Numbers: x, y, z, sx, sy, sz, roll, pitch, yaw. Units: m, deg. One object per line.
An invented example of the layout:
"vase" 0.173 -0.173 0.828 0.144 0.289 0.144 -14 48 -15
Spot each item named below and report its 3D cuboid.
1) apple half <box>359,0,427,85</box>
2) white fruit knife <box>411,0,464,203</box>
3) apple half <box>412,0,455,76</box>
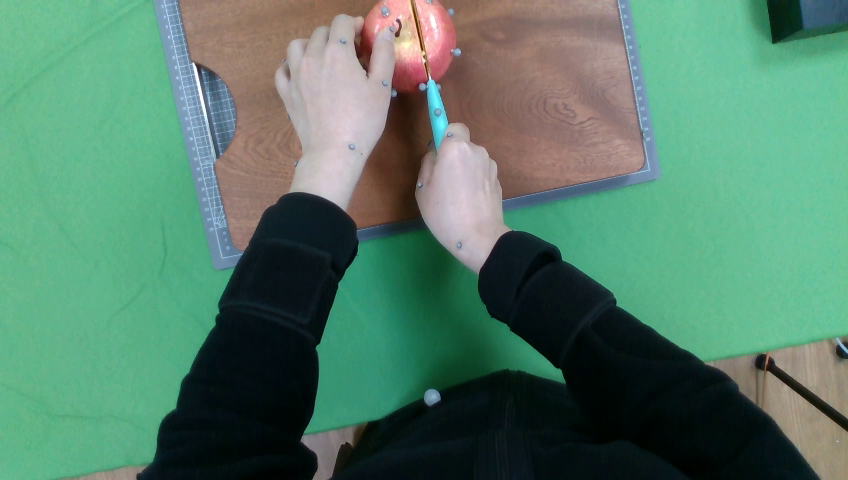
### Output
"apple half" -0.029 -0.174 0.529 0.053 0.074 0.081 -13 97 6
"white fruit knife" 0.005 -0.134 0.521 0.016 0.027 0.207 -14 95 -3
"apple half" 0.010 -0.183 0.529 0.033 0.081 0.081 -14 93 1
